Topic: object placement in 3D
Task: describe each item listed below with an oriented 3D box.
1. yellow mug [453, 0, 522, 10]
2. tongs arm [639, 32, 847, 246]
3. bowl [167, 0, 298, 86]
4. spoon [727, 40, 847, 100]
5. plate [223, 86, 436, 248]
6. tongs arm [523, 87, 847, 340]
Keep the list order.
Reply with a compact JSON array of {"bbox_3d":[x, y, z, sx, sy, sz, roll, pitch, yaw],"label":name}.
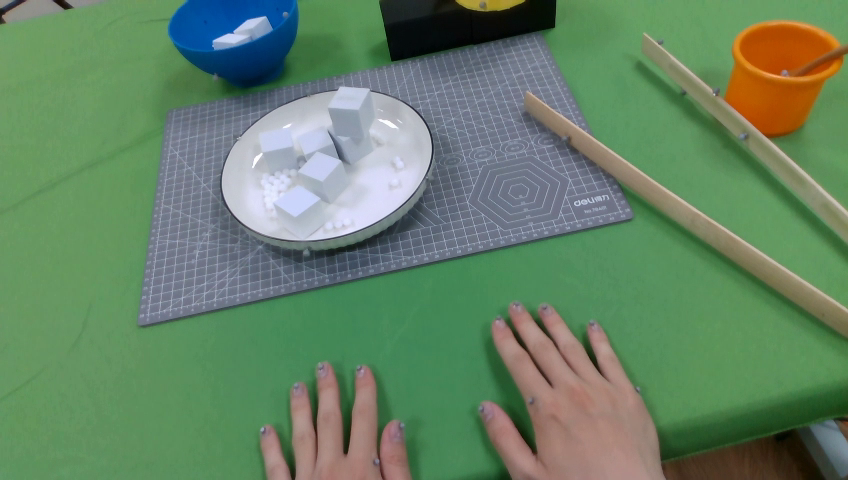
[{"bbox_3d":[0.058,-0.312,0.680,0.131,0.064,0.099,-9,52,3],"label":"yellow mug"},{"bbox_3d":[0.292,-0.073,0.545,0.051,0.027,0.380,-23,54,-10],"label":"tongs arm"},{"bbox_3d":[-0.214,-0.238,0.721,0.151,0.077,0.150,-4,52,6],"label":"bowl"},{"bbox_3d":[0.358,-0.161,0.530,0.022,0.193,0.041,49,63,-12],"label":"spoon"},{"bbox_3d":[-0.090,-0.072,0.597,0.207,0.039,0.205,-4,52,6],"label":"plate"},{"bbox_3d":[0.221,-0.036,0.529,0.028,0.028,0.383,-32,56,-20],"label":"tongs arm"}]
